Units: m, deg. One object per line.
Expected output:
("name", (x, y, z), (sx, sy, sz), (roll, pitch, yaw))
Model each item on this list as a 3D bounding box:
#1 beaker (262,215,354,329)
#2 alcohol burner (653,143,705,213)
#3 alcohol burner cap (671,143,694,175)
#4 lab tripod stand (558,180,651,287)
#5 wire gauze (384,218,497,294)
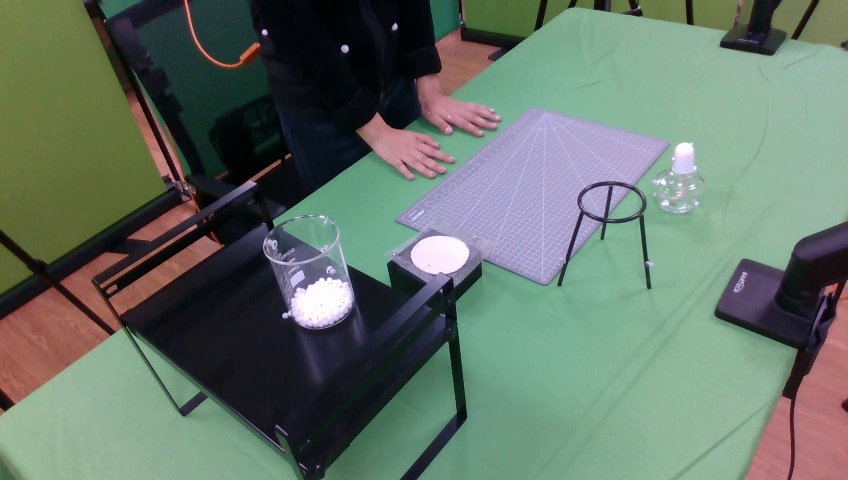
("beaker", (-0.112, 0.034, 0.616), (0.073, 0.101, 0.084), (13, 44, 23))
("alcohol burner", (0.408, -0.102, 0.963), (0.078, 0.119, 0.077), (-6, 42, 6))
("alcohol burner cap", (0.403, -0.129, 0.941), (0.034, 0.048, 0.033), (-9, 39, 8))
("lab tripod stand", (0.258, -0.005, 0.857), (0.148, 0.132, 0.147), (-4, 43, 4))
("wire gauze", (0.024, 0.016, 0.886), (0.124, 0.011, 0.122), (28, 49, 33))
